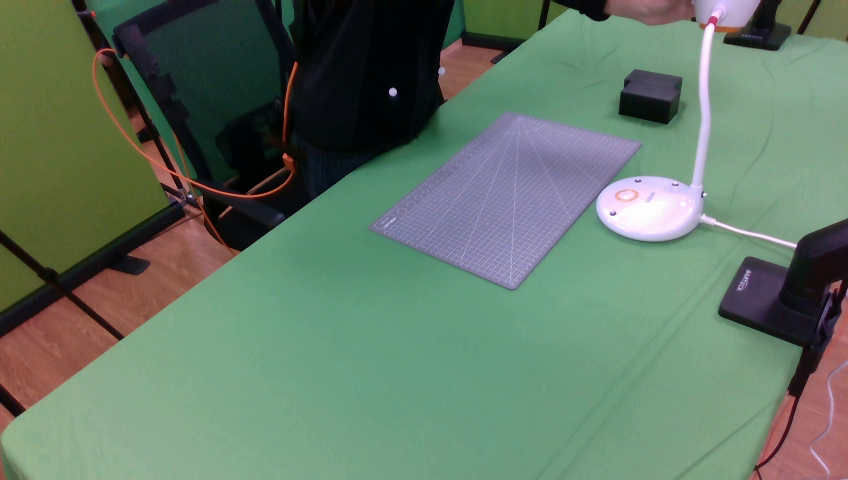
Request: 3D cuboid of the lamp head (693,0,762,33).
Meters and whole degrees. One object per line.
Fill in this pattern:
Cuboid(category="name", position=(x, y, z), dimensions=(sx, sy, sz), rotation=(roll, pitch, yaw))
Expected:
Cuboid(category="lamp head", position=(0.439, -0.362, 0.870), dimensions=(0.112, 0.123, 0.112), rotation=(2, 27, -1))

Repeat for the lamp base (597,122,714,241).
Cuboid(category="lamp base", position=(0.364, -0.109, 0.921), dimensions=(0.178, 0.181, 0.160), rotation=(13, 45, 21))

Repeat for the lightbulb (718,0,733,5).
Cuboid(category="lightbulb", position=(0.439, -0.392, 0.861), dimensions=(0.059, 0.108, 0.059), rotation=(-1, 31, 1))
